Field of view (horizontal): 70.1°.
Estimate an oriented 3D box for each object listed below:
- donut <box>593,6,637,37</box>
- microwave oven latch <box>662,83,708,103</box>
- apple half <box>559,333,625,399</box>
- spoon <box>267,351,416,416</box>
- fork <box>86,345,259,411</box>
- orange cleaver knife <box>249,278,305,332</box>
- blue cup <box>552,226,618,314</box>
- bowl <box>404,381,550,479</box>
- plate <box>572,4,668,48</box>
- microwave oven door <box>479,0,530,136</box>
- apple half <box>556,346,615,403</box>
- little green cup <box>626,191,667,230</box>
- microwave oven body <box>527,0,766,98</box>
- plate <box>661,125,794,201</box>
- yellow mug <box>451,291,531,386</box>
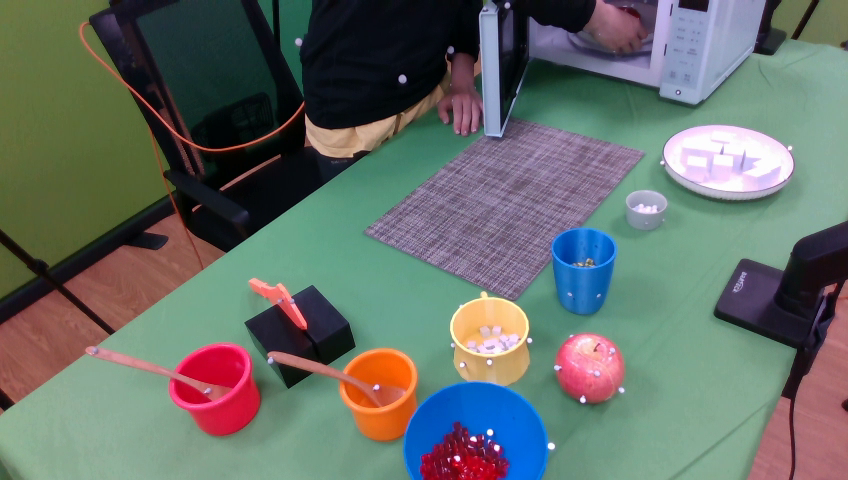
[{"bbox_3d":[0.427,-0.492,1.357,0.099,0.048,0.098,5,43,-4],"label":"donut"},{"bbox_3d":[0.519,-0.296,1.204,0.078,0.029,0.030,29,53,36],"label":"microwave oven latch"},{"bbox_3d":[0.209,0.147,0.730,0.080,0.075,0.053,26,48,38],"label":"apple half"},{"bbox_3d":[-0.091,0.163,0.699,0.021,0.195,0.041,-44,30,27],"label":"spoon"},{"bbox_3d":[-0.298,0.167,0.728,0.209,0.018,0.028,28,47,-23],"label":"fork"},{"bbox_3d":[-0.210,0.089,0.855,0.012,0.077,0.210,-28,15,-24],"label":"orange cleaver knife"},{"bbox_3d":[0.218,0.047,0.825,0.092,0.101,0.092,-6,40,5],"label":"blue cup"},{"bbox_3d":[0.058,0.235,0.645,0.151,0.077,0.150,-4,39,4],"label":"bowl"},{"bbox_3d":[0.441,-0.481,1.369,0.209,0.038,0.208,-2,39,2],"label":"plate"},{"bbox_3d":[0.170,-0.408,1.232,0.039,0.245,0.355,6,42,16],"label":"microwave oven door"},{"bbox_3d":[0.181,0.167,0.709,0.080,0.081,0.033,29,50,35],"label":"apple half"},{"bbox_3d":[0.352,-0.046,0.963,0.061,0.039,0.061,-4,40,4],"label":"little green cup"},{"bbox_3d":[0.472,-0.513,1.317,0.438,0.261,0.327,26,51,34],"label":"microwave oven body"},{"bbox_3d":[0.513,-0.128,1.035,0.207,0.039,0.206,-4,40,4],"label":"plate"},{"bbox_3d":[0.086,0.120,0.786,0.100,0.064,0.130,-7,39,1],"label":"yellow mug"}]
